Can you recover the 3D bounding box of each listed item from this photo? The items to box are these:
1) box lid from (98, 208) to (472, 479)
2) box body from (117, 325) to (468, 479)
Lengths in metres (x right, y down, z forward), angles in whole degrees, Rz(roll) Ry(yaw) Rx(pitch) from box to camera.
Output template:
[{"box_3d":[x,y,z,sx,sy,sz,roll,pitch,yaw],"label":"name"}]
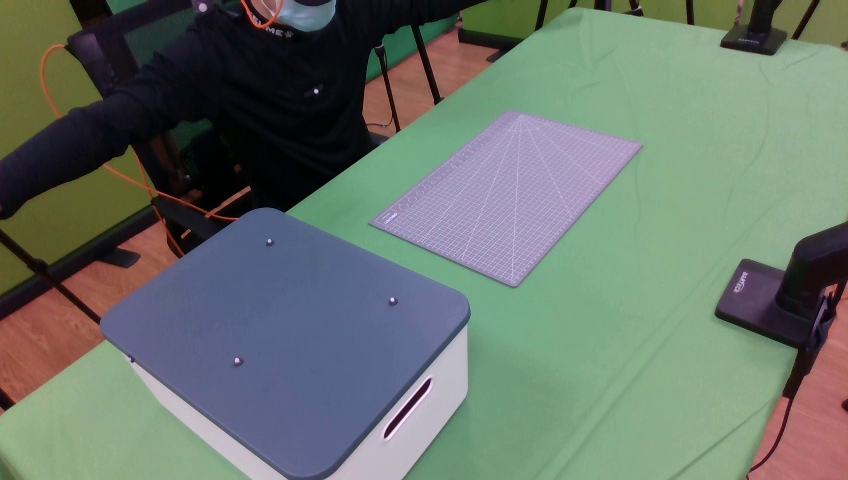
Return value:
[{"box_3d":[-0.161,0.083,0.675,0.368,0.015,0.264,22,48,30],"label":"box lid"},{"box_3d":[-0.151,0.140,0.721,0.361,0.161,0.255,23,49,30],"label":"box body"}]
